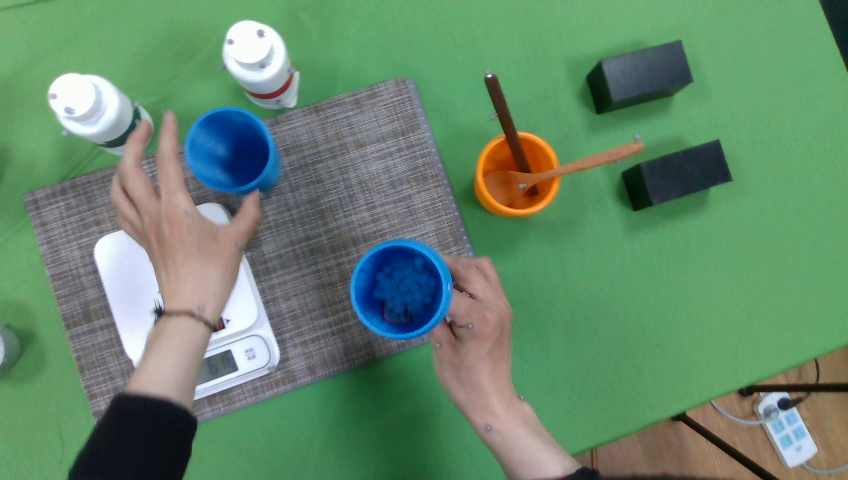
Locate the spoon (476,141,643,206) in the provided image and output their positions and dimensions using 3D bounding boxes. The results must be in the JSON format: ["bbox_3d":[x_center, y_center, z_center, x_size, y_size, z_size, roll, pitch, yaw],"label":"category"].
[{"bbox_3d":[0.139,-0.072,0.650,0.022,0.193,0.041,-24,98,-49],"label":"spoon"}]

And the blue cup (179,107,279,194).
[{"bbox_3d":[-0.194,-0.087,0.645,0.093,0.100,0.092,0,88,-5],"label":"blue cup"}]

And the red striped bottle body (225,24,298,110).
[{"bbox_3d":[-0.173,-0.186,0.648,0.063,0.120,0.063,0,85,-5],"label":"red striped bottle body"}]

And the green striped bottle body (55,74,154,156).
[{"bbox_3d":[-0.334,-0.130,0.631,0.063,0.119,0.063,0,85,-4],"label":"green striped bottle body"}]

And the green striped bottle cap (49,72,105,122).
[{"bbox_3d":[-0.330,-0.136,0.576,0.044,0.020,0.044,0,86,-3],"label":"green striped bottle cap"}]

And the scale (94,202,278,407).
[{"bbox_3d":[-0.258,0.070,0.662,0.149,0.031,0.200,-19,88,-5],"label":"scale"}]

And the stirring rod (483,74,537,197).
[{"bbox_3d":[0.095,-0.105,0.647,0.014,0.178,0.006,-4,52,24],"label":"stirring rod"}]

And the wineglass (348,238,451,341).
[{"bbox_3d":[-0.016,0.037,0.472,0.074,0.172,0.073,0,87,1],"label":"wineglass"}]

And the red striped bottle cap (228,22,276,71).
[{"bbox_3d":[-0.169,-0.190,0.595,0.044,0.018,0.044,0,84,-3],"label":"red striped bottle cap"}]

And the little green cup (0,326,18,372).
[{"bbox_3d":[-0.469,0.117,0.642,0.061,0.038,0.061,1,85,-6],"label":"little green cup"}]
